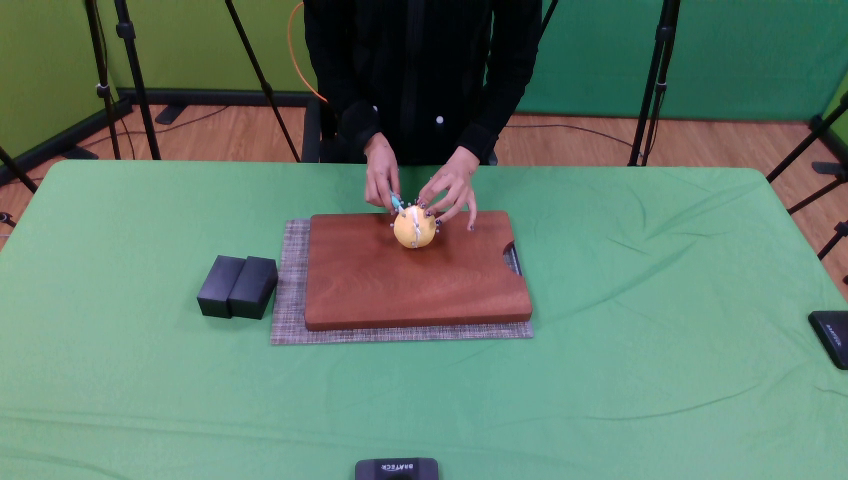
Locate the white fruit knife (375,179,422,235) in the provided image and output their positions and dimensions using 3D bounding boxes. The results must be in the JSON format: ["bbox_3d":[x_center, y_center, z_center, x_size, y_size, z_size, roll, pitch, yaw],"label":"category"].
[{"bbox_3d":[-0.050,-0.065,1.157,0.016,0.027,0.206,-21,40,-18],"label":"white fruit knife"}]

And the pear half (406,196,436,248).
[{"bbox_3d":[-0.005,-0.042,1.137,0.056,0.110,0.076,-21,52,-25],"label":"pear half"}]

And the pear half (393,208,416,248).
[{"bbox_3d":[-0.040,-0.021,1.129,0.031,0.088,0.070,-25,54,-20],"label":"pear half"}]
